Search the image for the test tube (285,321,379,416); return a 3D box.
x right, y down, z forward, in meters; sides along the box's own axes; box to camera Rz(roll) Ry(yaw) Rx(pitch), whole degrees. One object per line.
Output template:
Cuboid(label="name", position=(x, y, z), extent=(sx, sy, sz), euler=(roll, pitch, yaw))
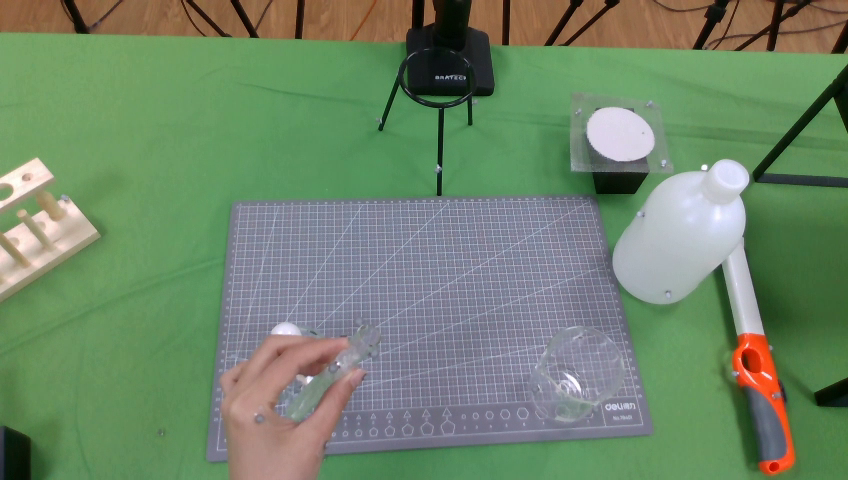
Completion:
Cuboid(label="test tube", position=(-0.070, 0.095, 0.429), extent=(0.017, 0.150, 0.017), euler=(18, 50, -22))

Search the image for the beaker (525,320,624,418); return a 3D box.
Cuboid(label="beaker", position=(0.141, 0.133, 0.601), extent=(0.084, 0.101, 0.073), euler=(-4, 61, -6))

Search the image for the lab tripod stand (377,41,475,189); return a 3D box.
Cuboid(label="lab tripod stand", position=(0.011, -0.156, 0.732), extent=(0.148, 0.132, 0.147), euler=(3, 62, -5))

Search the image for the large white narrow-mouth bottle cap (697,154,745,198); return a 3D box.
Cuboid(label="large white narrow-mouth bottle cap", position=(0.278, -0.060, 0.570), extent=(0.038, 0.024, 0.037), euler=(2, 61, -3))

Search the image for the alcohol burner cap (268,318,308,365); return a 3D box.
Cuboid(label="alcohol burner cap", position=(-0.126, 0.091, 0.552), extent=(0.034, 0.048, 0.033), euler=(1, 56, -1))

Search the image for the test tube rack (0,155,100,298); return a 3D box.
Cuboid(label="test tube rack", position=(-0.475, 0.022, 0.619), extent=(0.242, 0.086, 0.066), euler=(-40, 71, -23))

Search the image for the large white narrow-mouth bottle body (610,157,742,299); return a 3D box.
Cuboid(label="large white narrow-mouth bottle body", position=(0.273, -0.018, 0.644), extent=(0.102, 0.196, 0.101), euler=(2, 61, -3))

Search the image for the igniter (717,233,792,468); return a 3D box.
Cuboid(label="igniter", position=(0.362, 0.111, 0.677), extent=(0.057, 0.025, 0.274), euler=(10, 60, -11))

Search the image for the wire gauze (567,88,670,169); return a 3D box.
Cuboid(label="wire gauze", position=(0.239, -0.139, 0.757), extent=(0.121, 0.011, 0.124), euler=(5, 61, -2))

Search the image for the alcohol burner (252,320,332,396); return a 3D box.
Cuboid(label="alcohol burner", position=(-0.128, 0.108, 0.584), extent=(0.078, 0.120, 0.077), euler=(3, 60, -5))
